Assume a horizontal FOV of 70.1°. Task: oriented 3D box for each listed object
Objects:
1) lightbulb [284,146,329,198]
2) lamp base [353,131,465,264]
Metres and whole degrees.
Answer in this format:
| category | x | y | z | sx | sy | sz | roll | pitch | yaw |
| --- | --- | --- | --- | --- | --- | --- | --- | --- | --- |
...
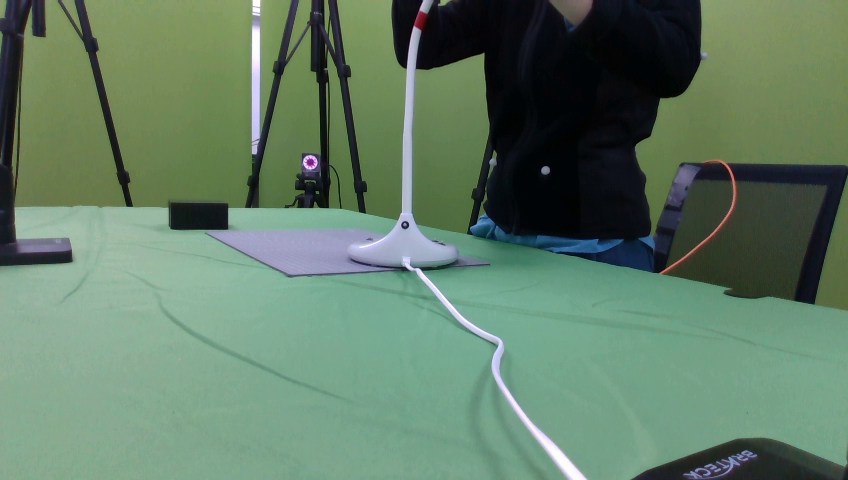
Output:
| category | x | y | z | sx | sy | sz | roll | pitch | yaw |
| --- | --- | --- | --- | --- | --- | --- | --- | --- | --- |
| lightbulb | -0.197 | -0.109 | 0.994 | 0.059 | 0.060 | 0.107 | 6 | 49 | 25 |
| lamp base | -0.015 | -0.062 | 0.851 | 0.161 | 0.180 | 0.178 | -1 | 11 | -20 |
